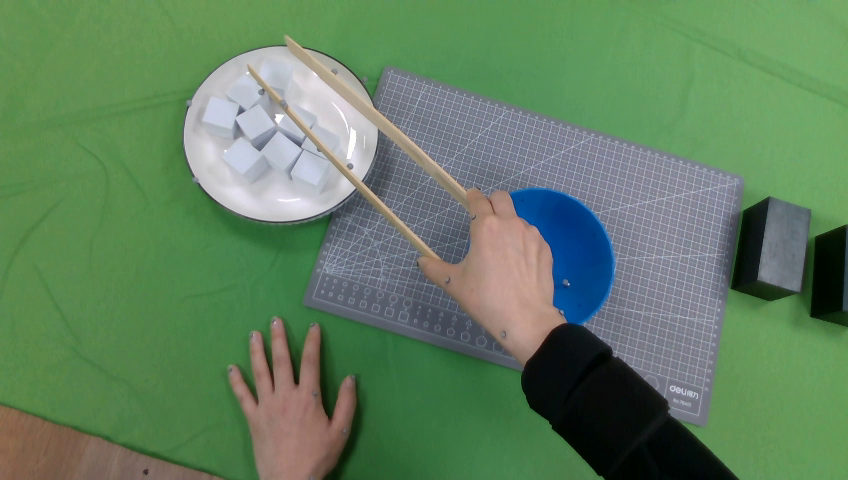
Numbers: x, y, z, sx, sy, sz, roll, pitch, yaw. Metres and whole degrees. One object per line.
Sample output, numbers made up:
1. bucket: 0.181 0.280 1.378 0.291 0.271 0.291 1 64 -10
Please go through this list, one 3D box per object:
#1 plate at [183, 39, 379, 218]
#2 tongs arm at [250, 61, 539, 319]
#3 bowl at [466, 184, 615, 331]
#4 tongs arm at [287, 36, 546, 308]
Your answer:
1. plate: -0.153 -0.120 0.666 0.208 0.039 0.206 1 75 -4
2. tongs arm: -0.043 -0.063 0.566 0.051 0.027 0.381 -36 66 -14
3. bowl: 0.112 0.025 0.634 0.151 0.077 0.150 2 76 -6
4. tongs arm: -0.020 -0.082 0.574 0.028 0.028 0.384 -37 66 -18
